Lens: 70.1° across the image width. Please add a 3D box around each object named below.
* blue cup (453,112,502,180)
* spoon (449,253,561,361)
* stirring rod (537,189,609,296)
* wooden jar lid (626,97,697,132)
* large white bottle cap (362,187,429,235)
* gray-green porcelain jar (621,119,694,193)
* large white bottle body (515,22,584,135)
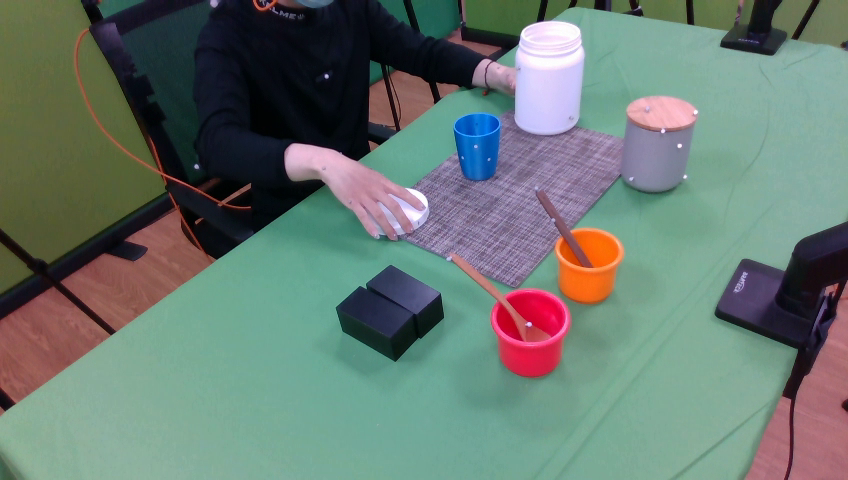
[{"bbox_3d":[0.097,-0.165,1.088,0.092,0.100,0.092,-3,40,3],"label":"blue cup"},{"bbox_3d":[0.103,0.083,0.770,0.194,0.021,0.042,47,52,-7],"label":"spoon"},{"bbox_3d":[0.210,0.003,0.855,0.014,0.006,0.176,-32,89,-30],"label":"stirring rod"},{"bbox_3d":[0.381,-0.198,0.976,0.108,0.021,0.108,-2,40,3],"label":"wooden jar lid"},{"bbox_3d":[-0.049,-0.052,1.042,0.115,0.018,0.114,-5,41,4],"label":"large white bottle cap"},{"bbox_3d":[0.389,-0.152,1.016,0.106,0.127,0.105,-4,40,4],"label":"gray-green porcelain jar"},{"bbox_3d":[0.242,-0.314,1.176,0.130,0.185,0.130,-4,40,4],"label":"large white bottle body"}]
